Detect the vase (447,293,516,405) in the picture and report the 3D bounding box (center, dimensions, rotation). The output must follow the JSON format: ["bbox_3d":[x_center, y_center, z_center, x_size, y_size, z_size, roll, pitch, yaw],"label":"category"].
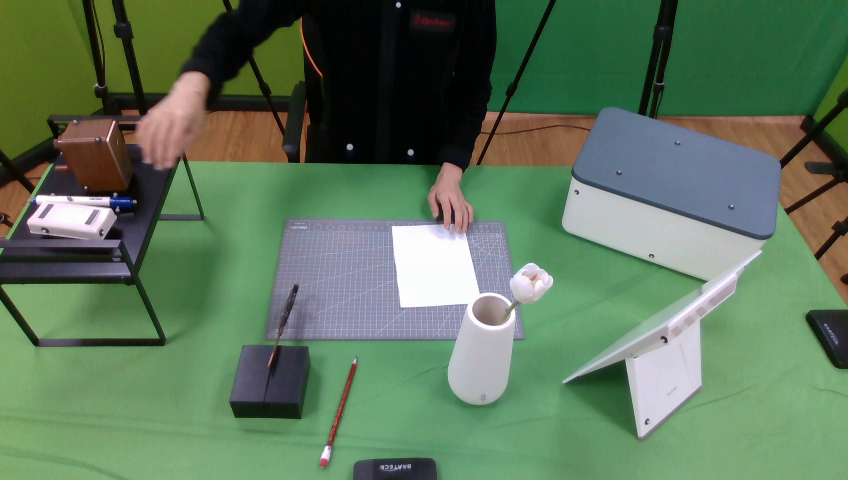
[{"bbox_3d":[0.091,0.169,0.921,0.098,0.201,0.097,3,47,-3],"label":"vase"}]

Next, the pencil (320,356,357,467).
[{"bbox_3d":[-0.130,0.261,0.946,0.012,0.012,0.193,10,45,5],"label":"pencil"}]

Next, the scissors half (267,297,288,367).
[{"bbox_3d":[-0.239,0.150,0.997,0.013,0.040,0.174,23,24,-13],"label":"scissors half"}]

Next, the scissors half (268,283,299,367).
[{"bbox_3d":[-0.230,0.135,0.986,0.013,0.040,0.174,19,43,-10],"label":"scissors half"}]

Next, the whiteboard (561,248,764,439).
[{"bbox_3d":[0.386,0.176,0.905,0.217,0.306,0.143,-26,72,-27],"label":"whiteboard"}]

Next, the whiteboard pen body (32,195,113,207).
[{"bbox_3d":[-0.543,-0.061,0.961,0.141,0.017,0.017,1,46,-9],"label":"whiteboard pen body"}]

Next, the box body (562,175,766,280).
[{"bbox_3d":[0.486,-0.088,1.222,0.363,0.161,0.253,20,48,15],"label":"box body"}]

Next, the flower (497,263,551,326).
[{"bbox_3d":[0.103,0.121,0.853,0.044,0.363,0.038,-1,64,-9],"label":"flower"}]

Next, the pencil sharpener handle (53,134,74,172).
[{"bbox_3d":[-0.577,-0.138,0.961,0.031,0.068,0.036,-4,33,-7],"label":"pencil sharpener handle"}]

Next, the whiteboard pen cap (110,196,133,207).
[{"bbox_3d":[-0.486,-0.061,0.972,0.033,0.018,0.018,0,46,-9],"label":"whiteboard pen cap"}]

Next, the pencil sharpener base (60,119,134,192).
[{"bbox_3d":[-0.528,-0.135,0.979,0.077,0.107,0.061,-4,47,-7],"label":"pencil sharpener base"}]

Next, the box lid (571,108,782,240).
[{"bbox_3d":[0.491,-0.139,1.168,0.370,0.015,0.262,21,49,15],"label":"box lid"}]

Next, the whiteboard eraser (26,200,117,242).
[{"bbox_3d":[-0.532,-0.026,0.919,0.113,0.042,0.055,7,45,3],"label":"whiteboard eraser"}]
